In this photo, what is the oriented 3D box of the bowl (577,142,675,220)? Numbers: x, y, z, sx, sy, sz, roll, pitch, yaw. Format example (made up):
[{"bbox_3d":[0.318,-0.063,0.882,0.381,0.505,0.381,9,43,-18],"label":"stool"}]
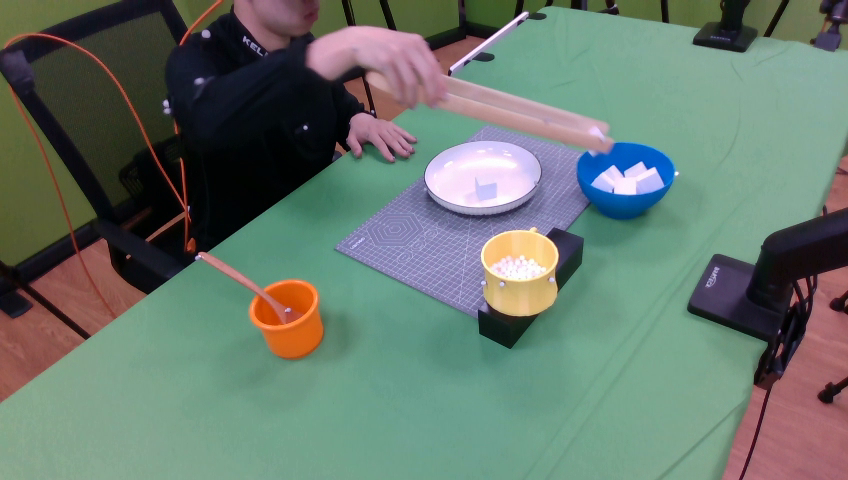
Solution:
[{"bbox_3d":[0.322,-0.086,0.980,0.151,0.077,0.150,-4,40,4],"label":"bowl"}]

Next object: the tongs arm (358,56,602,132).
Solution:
[{"bbox_3d":[0.093,-0.214,0.913,0.389,0.028,0.028,13,42,-13],"label":"tongs arm"}]

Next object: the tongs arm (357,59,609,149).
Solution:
[{"bbox_3d":[0.093,-0.198,0.892,0.387,0.026,0.050,11,39,-15],"label":"tongs arm"}]

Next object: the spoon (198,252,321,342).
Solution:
[{"bbox_3d":[-0.220,0.075,0.815,0.021,0.194,0.041,-36,19,40],"label":"spoon"}]

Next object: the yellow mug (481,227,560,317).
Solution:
[{"bbox_3d":[0.132,0.032,0.801,0.099,0.064,0.131,11,43,20],"label":"yellow mug"}]

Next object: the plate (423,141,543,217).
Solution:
[{"bbox_3d":[0.103,-0.104,1.059,0.207,0.039,0.206,-4,40,4],"label":"plate"}]
